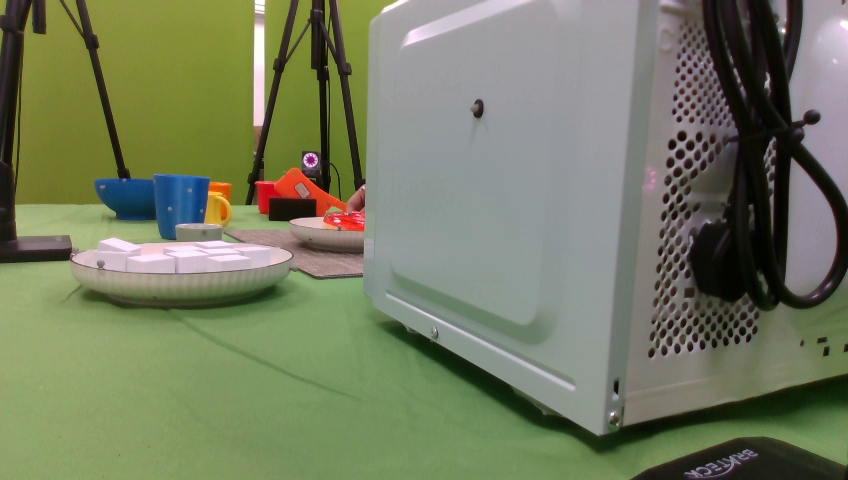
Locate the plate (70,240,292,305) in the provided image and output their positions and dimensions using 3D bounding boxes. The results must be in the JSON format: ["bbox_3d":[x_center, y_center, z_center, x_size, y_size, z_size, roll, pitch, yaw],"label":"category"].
[{"bbox_3d":[-0.242,0.031,0.618,0.208,0.039,0.207,2,8,0],"label":"plate"}]

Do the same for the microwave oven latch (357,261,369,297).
[{"bbox_3d":[-0.019,0.033,0.531,0.079,0.029,0.030,-1,7,-27],"label":"microwave oven latch"}]

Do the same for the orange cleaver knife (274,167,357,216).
[{"bbox_3d":[-0.238,-0.091,1.381,0.212,0.077,0.012,31,0,-19],"label":"orange cleaver knife"}]

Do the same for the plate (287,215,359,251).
[{"bbox_3d":[-0.112,-0.012,0.960,0.209,0.038,0.209,3,8,0],"label":"plate"}]

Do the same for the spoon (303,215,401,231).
[{"bbox_3d":[-0.128,-0.036,1.113,0.195,0.021,0.041,-11,-4,-31],"label":"spoon"}]

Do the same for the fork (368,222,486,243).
[{"bbox_3d":[0.011,-0.007,0.877,0.208,0.028,0.018,3,9,-39],"label":"fork"}]

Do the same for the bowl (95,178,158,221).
[{"bbox_3d":[-0.576,-0.081,1.217,0.151,0.077,0.151,3,8,0],"label":"bowl"}]

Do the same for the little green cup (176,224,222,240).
[{"bbox_3d":[-0.312,-0.001,0.842,0.061,0.038,0.061,2,8,0],"label":"little green cup"}]

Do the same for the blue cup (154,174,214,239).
[{"bbox_3d":[-0.390,-0.053,0.978,0.093,0.100,0.092,3,6,0],"label":"blue cup"}]

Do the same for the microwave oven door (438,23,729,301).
[{"bbox_3d":[0.181,-0.072,0.620,0.358,0.243,0.039,-2,8,-29],"label":"microwave oven door"}]

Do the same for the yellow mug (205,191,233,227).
[{"bbox_3d":[-0.415,-0.057,1.132,0.130,0.064,0.100,6,8,16],"label":"yellow mug"}]

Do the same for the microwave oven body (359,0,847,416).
[{"bbox_3d":[0.211,-0.047,0.474,0.444,0.260,0.324,-1,7,-28],"label":"microwave oven body"}]

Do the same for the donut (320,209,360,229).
[{"bbox_3d":[-0.115,-0.023,0.961,0.099,0.048,0.099,5,9,0],"label":"donut"}]
